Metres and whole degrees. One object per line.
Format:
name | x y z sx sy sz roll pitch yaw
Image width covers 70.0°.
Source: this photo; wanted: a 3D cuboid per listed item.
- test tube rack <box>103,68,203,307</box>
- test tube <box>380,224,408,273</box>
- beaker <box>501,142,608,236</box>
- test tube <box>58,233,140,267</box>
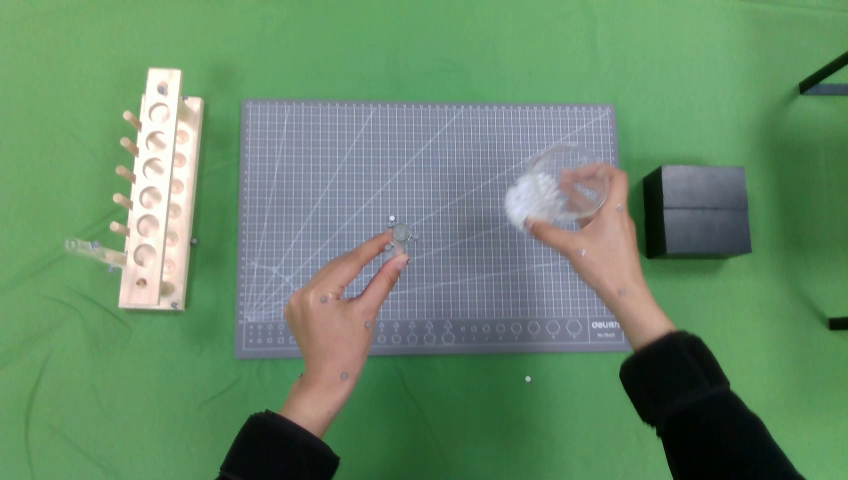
test tube rack | -0.292 -0.053 0.646 0.067 0.085 0.241 3 80 -4
test tube | -0.028 0.010 0.540 0.017 0.150 0.017 2 77 -7
beaker | 0.123 -0.048 0.608 0.084 0.100 0.073 24 73 -7
test tube | -0.312 0.013 0.588 0.017 0.151 0.017 1 81 -5
